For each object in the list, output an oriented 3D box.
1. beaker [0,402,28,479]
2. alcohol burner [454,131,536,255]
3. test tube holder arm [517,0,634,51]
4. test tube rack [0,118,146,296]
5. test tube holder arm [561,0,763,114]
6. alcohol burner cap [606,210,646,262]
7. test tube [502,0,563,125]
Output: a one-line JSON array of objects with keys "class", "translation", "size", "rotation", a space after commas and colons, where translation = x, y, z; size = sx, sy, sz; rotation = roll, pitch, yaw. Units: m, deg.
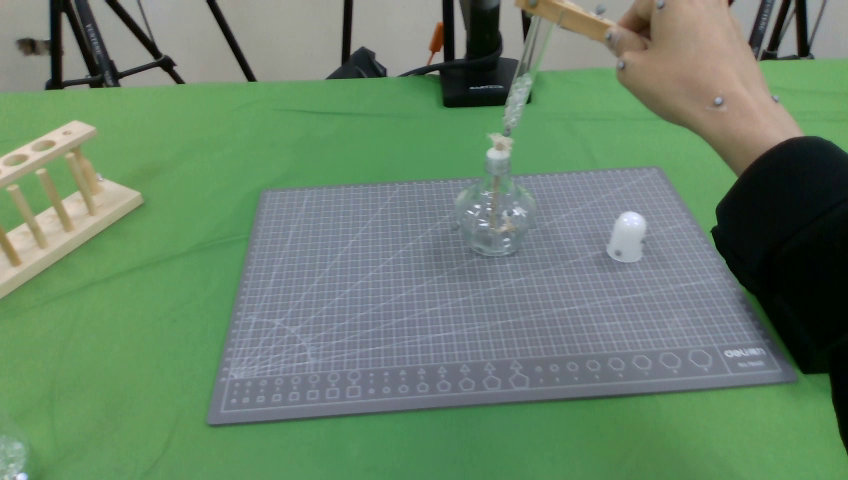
[{"class": "beaker", "translation": [-0.314, 0.125, 0.388], "size": [0.084, 0.101, 0.073], "rotation": [-20, 44, -19]}, {"class": "alcohol burner", "translation": [0.067, -0.046, 0.562], "size": [0.078, 0.120, 0.077], "rotation": [-1, 39, 1]}, {"class": "test tube holder arm", "translation": [0.104, -0.154, 0.419], "size": [0.087, 0.015, 0.010], "rotation": [32, 39, 18]}, {"class": "test tube rack", "translation": [-0.392, -0.017, 0.566], "size": [0.066, 0.086, 0.241], "rotation": [20, 45, 23]}, {"class": "test tube holder arm", "translation": [0.141, -0.132, 0.406], "size": [0.177, 0.015, 0.013], "rotation": [38, 42, 25]}, {"class": "alcohol burner cap", "translation": [0.191, -0.006, 0.567], "size": [0.034, 0.048, 0.033], "rotation": [-1, 40, 1]}, {"class": "test tube", "translation": [0.085, -0.152, 0.443], "size": [0.017, 0.151, 0.017], "rotation": [11, 37, -8]}]
